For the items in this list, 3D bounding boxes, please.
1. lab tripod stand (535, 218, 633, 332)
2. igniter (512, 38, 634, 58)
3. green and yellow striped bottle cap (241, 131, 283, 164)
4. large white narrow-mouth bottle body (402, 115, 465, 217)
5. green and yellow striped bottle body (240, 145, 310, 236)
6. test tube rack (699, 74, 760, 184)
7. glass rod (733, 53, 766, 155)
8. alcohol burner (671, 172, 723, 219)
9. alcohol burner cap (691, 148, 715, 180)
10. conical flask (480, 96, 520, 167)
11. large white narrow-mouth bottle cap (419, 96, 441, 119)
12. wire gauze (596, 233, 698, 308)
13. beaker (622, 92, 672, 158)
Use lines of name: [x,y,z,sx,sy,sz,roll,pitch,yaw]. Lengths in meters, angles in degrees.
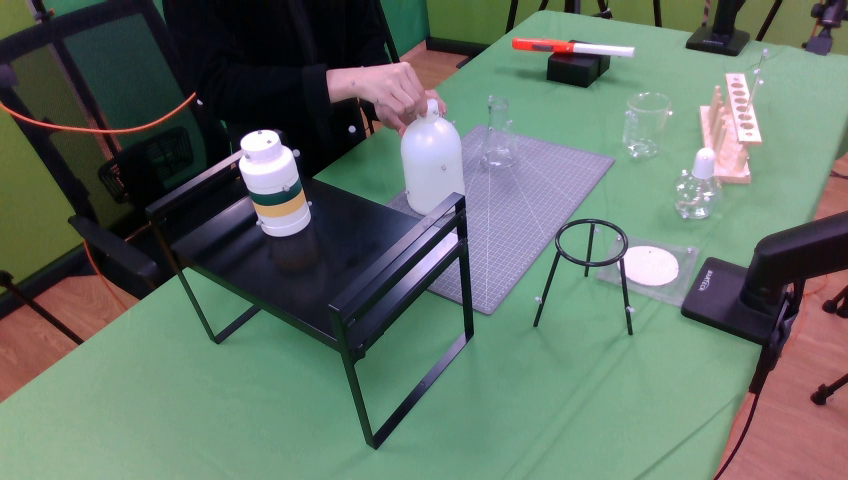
lab tripod stand: [0.216,0.050,0.803,0.148,0.132,0.147,-4,42,4]
igniter: [0.328,-0.433,1.360,0.275,0.025,0.057,12,33,20]
green and yellow striped bottle cap: [-0.187,-0.107,0.695,0.045,0.020,0.045,-3,39,3]
large white narrow-mouth bottle body: [0.015,-0.140,1.004,0.102,0.195,0.101,-3,39,3]
green and yellow striped bottle body: [-0.181,-0.068,0.729,0.063,0.120,0.063,-4,40,4]
test tube rack: [0.547,-0.208,1.095,0.066,0.085,0.242,6,42,16]
glass rod: [0.540,-0.219,1.006,0.008,0.201,0.008,-5,45,6]
alcohol burner: [0.434,-0.093,0.955,0.078,0.119,0.077,-3,43,4]
alcohol burner cap: [0.432,-0.120,0.930,0.034,0.048,0.033,-7,48,8]
conical flask: [0.138,-0.201,1.111,0.075,0.122,0.075,-4,40,4]
large white narrow-mouth bottle cap: [0.009,-0.208,0.949,0.038,0.024,0.037,-3,39,3]
wire gauze: [0.331,0.038,0.897,0.124,0.011,0.121,18,47,26]
beaker: [0.403,-0.209,1.106,0.074,0.101,0.083,-9,40,-2]
